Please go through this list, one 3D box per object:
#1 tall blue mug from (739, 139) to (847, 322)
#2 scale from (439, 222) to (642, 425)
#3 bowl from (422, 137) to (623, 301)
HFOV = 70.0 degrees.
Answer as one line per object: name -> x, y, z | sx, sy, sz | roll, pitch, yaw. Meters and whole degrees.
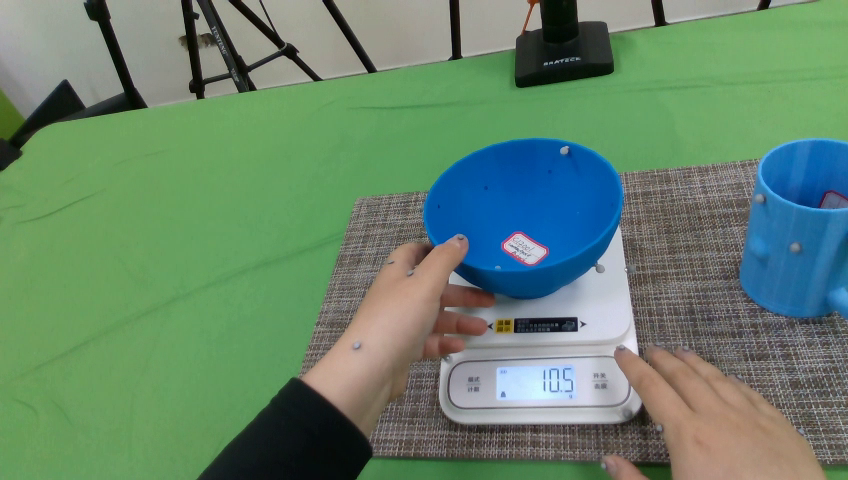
tall blue mug -> 0.284, 0.000, 0.425 | 0.078, 0.109, 0.106 | -40, 47, -22
scale -> 0.091, 0.054, 0.494 | 0.148, 0.032, 0.199 | -5, 45, 15
bowl -> 0.080, -0.005, 0.480 | 0.151, 0.077, 0.150 | -9, 44, 9
